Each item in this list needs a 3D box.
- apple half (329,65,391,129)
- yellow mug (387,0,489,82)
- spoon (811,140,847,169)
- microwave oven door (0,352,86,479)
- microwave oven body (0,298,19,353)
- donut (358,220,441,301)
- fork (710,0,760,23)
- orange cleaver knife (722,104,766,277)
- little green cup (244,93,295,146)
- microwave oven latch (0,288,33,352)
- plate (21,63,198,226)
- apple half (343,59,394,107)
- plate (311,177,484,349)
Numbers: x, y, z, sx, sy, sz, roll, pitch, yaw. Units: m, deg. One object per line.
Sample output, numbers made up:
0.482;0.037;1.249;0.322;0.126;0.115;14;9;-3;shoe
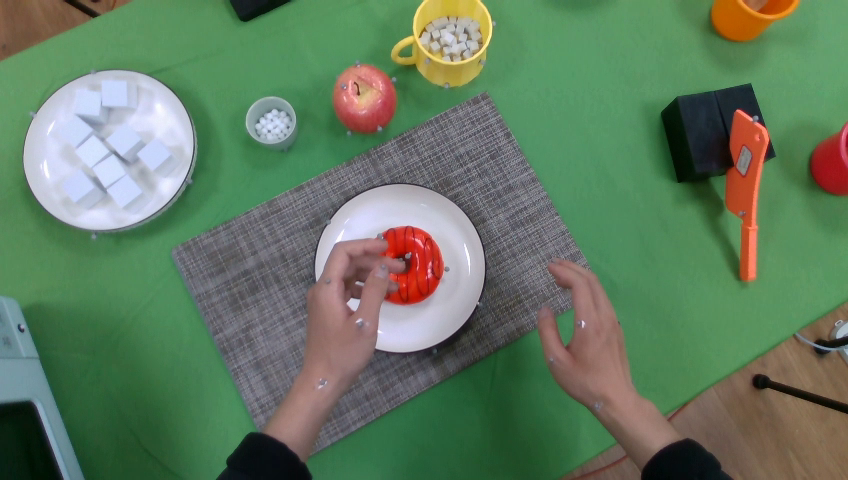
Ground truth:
-0.086;-0.170;0.757;0.081;0.075;0.053;35;85;0;apple half
0.016;-0.258;0.778;0.131;0.064;0.099;-17;81;-4;yellow mug
0.583;-0.103;0.735;0.192;0.022;0.041;8;70;44;spoon
-0.385;0.272;0.566;0.039;0.244;0.354;-26;82;-6;microwave oven door
-0.535;0.297;0.561;0.326;0.261;0.440;-25;83;-7;microwave oven body
-0.030;0.024;0.728;0.099;0.048;0.098;0;82;-2;donut
0.470;-0.340;0.767;0.207;0.019;0.028;-27;76;38;fork
0.390;-0.059;0.748;0.012;0.076;0.213;-9;113;-2;orange cleaver knife
-0.193;-0.150;0.766;0.061;0.039;0.061;0;80;-1;little green cup
-0.481;0.095;0.695;0.030;0.029;0.079;-24;83;-7;microwave oven latch
-0.384;-0.116;0.753;0.208;0.039;0.207;0;80;-2;plate
-0.064;-0.201;0.762;0.081;0.081;0.033;35;85;4;apple half
-0.032;0.028;0.739;0.209;0.038;0.208;0;81;-2;plate
